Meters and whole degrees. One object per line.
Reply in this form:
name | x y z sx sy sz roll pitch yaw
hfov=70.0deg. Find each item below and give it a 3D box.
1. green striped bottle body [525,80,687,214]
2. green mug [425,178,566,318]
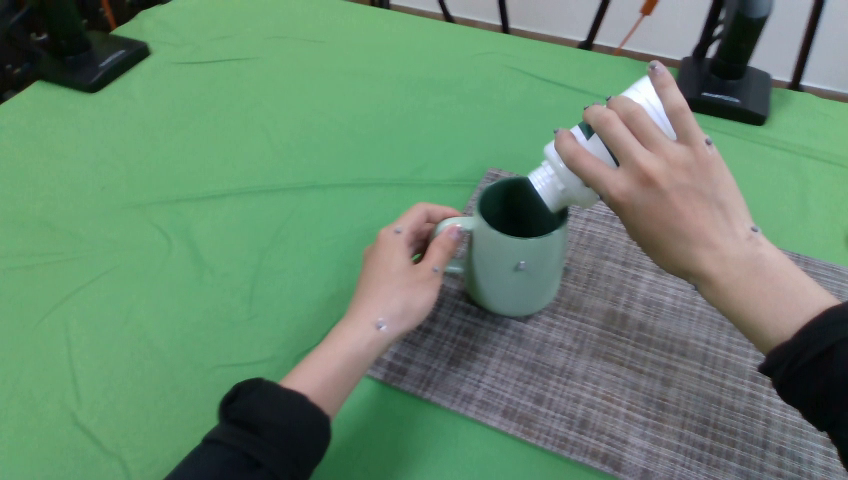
green striped bottle body | 0.141 -0.069 0.487 0.119 0.064 0.062 -34 48 11
green mug | 0.063 0.009 0.543 0.125 0.106 0.091 -2 47 -1
